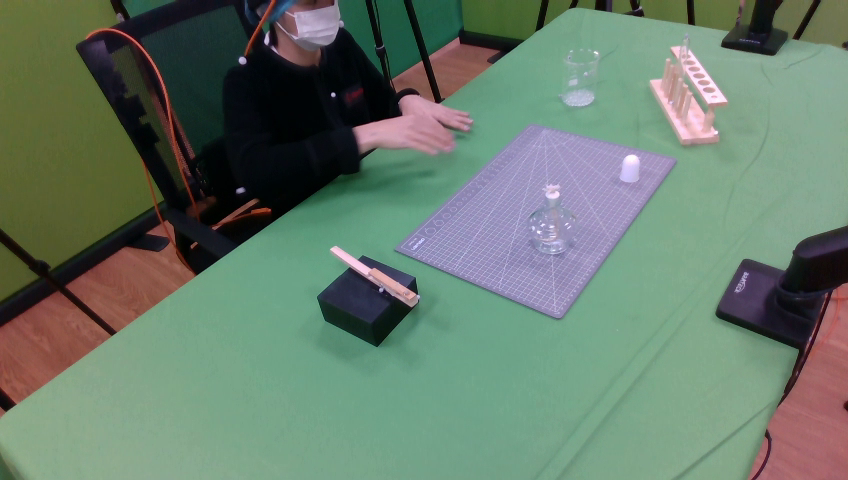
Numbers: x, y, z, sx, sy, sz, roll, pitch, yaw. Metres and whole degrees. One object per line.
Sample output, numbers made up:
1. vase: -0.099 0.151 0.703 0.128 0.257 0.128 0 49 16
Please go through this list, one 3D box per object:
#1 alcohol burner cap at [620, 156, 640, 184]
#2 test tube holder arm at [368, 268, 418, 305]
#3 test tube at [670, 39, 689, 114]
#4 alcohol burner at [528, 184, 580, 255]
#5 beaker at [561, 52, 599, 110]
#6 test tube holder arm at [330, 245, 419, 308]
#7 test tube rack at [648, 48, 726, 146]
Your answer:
1. alcohol burner cap: 0.358 -0.124 1.047 0.034 0.048 0.033 -4 40 4
2. test tube holder arm: -0.043 0.063 0.827 0.015 0.010 0.087 -37 47 -29
3. test tube: 0.484 -0.308 1.146 0.017 0.151 0.017 -5 41 5
4. alcohol burner: 0.196 -0.035 0.911 0.078 0.119 0.077 -6 41 5
5. beaker: 0.325 -0.331 1.260 0.084 0.101 0.073 -20 42 -15
6. test tube holder arm: -0.074 0.049 0.857 0.177 0.013 0.015 30 53 36
7. test tube rack: 0.509 -0.285 1.186 0.067 0.085 0.241 -4 40 6
